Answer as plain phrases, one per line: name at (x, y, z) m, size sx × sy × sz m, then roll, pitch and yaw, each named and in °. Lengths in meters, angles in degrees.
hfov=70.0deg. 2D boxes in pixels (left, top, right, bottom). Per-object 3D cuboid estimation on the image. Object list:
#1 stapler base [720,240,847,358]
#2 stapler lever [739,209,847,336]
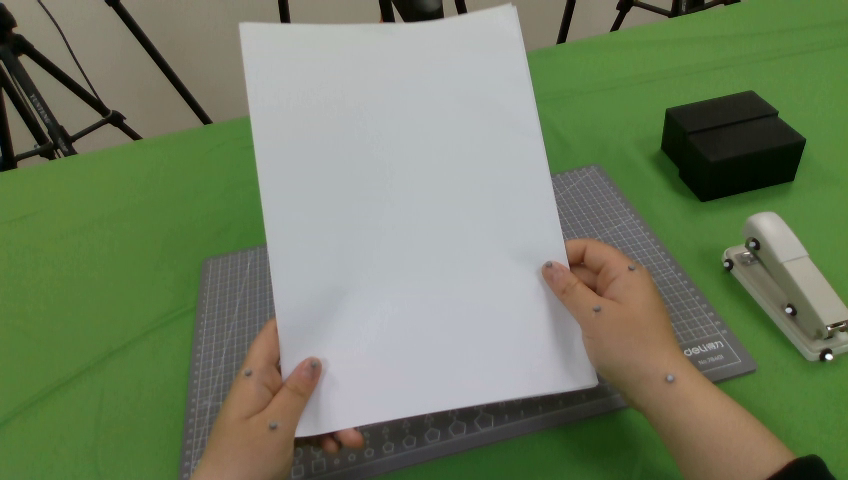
stapler base at (0.300, 0.039, 0.505) m, size 0.041 × 0.025 × 0.129 m, roll -16°, pitch 43°, yaw -3°
stapler lever at (0.297, 0.021, 0.487) m, size 0.027 × 0.040 × 0.116 m, roll -16°, pitch 43°, yaw -3°
